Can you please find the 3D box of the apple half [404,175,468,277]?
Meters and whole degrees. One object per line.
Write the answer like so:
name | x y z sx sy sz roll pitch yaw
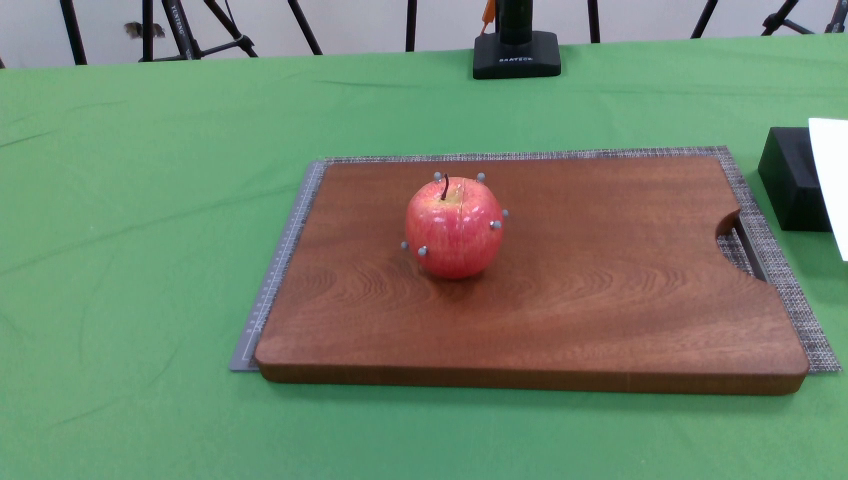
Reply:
apple half | 0.011 -0.011 0.501 0.053 0.075 0.080 -3 44 11

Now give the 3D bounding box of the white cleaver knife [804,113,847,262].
white cleaver knife | 0.364 -0.002 0.489 0.066 0.022 0.284 0 53 13

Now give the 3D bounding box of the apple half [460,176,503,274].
apple half | 0.049 -0.012 0.495 0.033 0.082 0.080 -4 41 10
